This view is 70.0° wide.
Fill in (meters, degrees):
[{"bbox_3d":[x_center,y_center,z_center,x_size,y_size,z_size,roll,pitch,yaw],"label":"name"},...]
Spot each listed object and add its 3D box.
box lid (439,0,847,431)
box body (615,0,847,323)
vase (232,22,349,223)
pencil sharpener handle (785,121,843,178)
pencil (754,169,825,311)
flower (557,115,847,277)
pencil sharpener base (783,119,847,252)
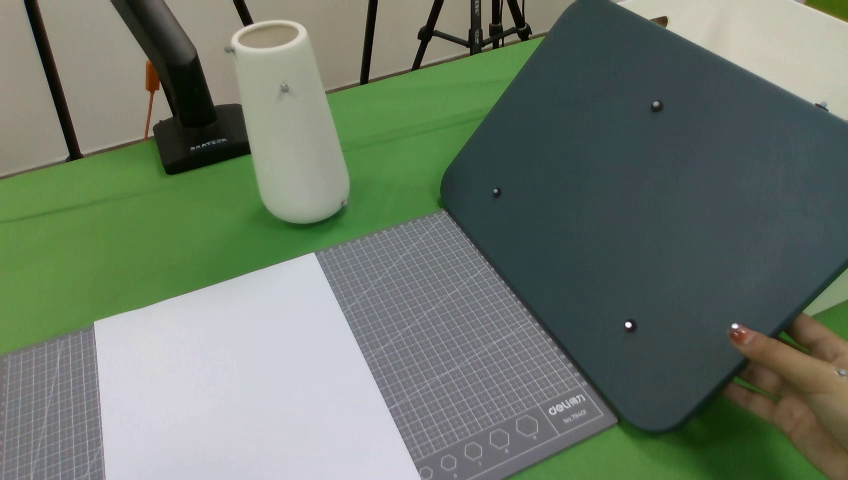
[{"bbox_3d":[0.168,-0.049,0.533,0.015,0.263,0.367,22,22,-43],"label":"box lid"},{"bbox_3d":[0.326,-0.110,0.614,0.254,0.162,0.359,-19,44,-16],"label":"box body"},{"bbox_3d":[-0.137,-0.114,0.623,0.098,0.202,0.097,-3,41,3],"label":"vase"},{"bbox_3d":[0.385,-0.094,0.605,0.036,0.068,0.030,-23,46,-15],"label":"pencil sharpener handle"},{"bbox_3d":[0.367,-0.007,0.610,0.012,0.012,0.192,0,47,5],"label":"pencil"},{"bbox_3d":[0.297,-0.047,0.653,0.358,0.038,0.044,36,19,28],"label":"flower"},{"bbox_3d":[0.407,-0.055,0.579,0.061,0.108,0.076,-19,44,-19],"label":"pencil sharpener base"}]
